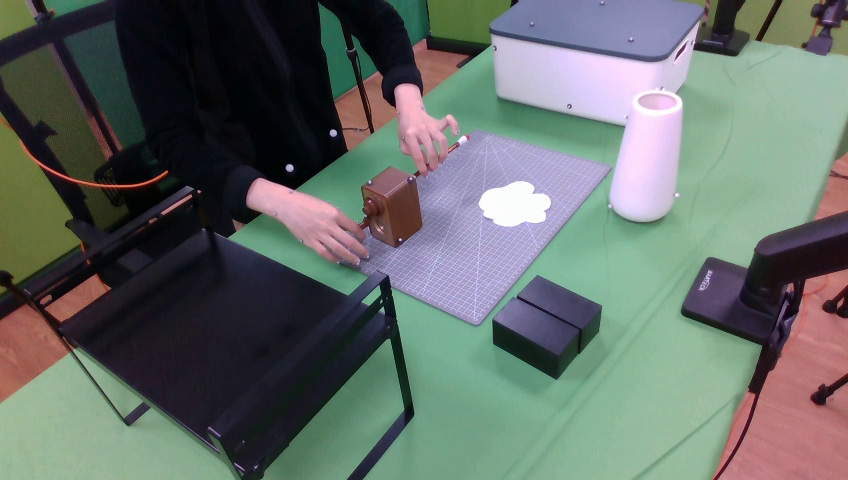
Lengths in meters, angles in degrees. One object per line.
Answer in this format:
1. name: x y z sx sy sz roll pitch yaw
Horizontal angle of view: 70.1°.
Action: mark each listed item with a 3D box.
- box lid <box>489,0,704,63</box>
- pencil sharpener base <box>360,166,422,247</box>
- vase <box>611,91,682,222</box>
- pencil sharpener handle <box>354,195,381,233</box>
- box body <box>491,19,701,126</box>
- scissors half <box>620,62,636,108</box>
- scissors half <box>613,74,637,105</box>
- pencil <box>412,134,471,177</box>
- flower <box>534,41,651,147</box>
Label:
1. box lid: 0.345 -0.441 1.217 0.369 0.015 0.264 21 49 29
2. pencil sharpener base: -0.052 -0.052 0.973 0.061 0.107 0.077 26 51 33
3. vase: 0.348 -0.125 0.935 0.098 0.201 0.097 -3 40 3
4. pencil sharpener handle: -0.092 -0.037 0.941 0.036 0.068 0.031 41 57 13
5. box body: 0.352 -0.384 1.268 0.361 0.161 0.255 21 48 29
6. scissors half: 0.434 -0.340 1.298 0.013 0.040 0.174 25 42 -11
7. scissors half: 0.427 -0.330 1.306 0.013 0.040 0.174 31 31 -14
8. pencil: 0.015 -0.130 1.012 0.012 0.012 0.194 27 52 33
9. flower: 0.364 -0.319 1.318 0.038 0.044 0.359 -4 48 -50
